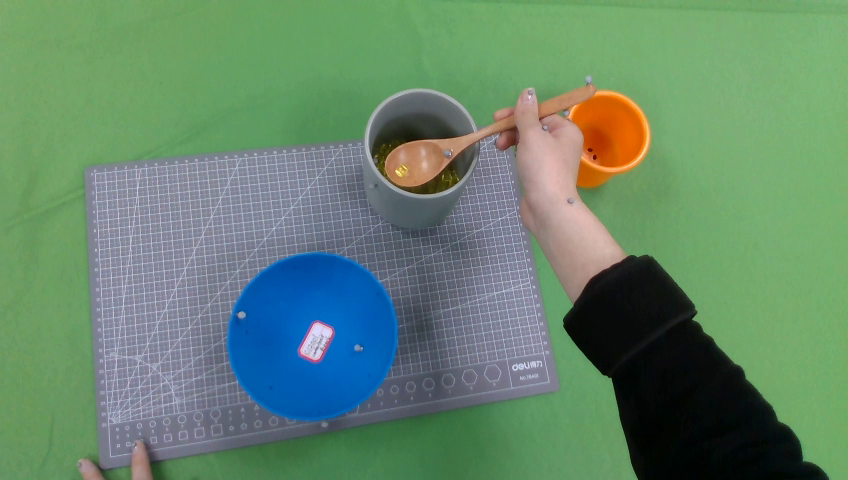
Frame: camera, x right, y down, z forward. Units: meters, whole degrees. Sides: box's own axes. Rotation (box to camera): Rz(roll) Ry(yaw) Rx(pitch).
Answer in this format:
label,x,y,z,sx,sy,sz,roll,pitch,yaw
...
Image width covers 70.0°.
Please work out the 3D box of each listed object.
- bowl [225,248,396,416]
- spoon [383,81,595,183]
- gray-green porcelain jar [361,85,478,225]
label,x,y,z,sx,sy,sz,roll,pitch,yaw
bowl,-0.104,0.089,0.576,0.152,0.077,0.150,2,77,-7
spoon,0.056,-0.096,0.524,0.193,0.022,0.041,-21,77,10
gray-green porcelain jar,-0.010,-0.076,0.598,0.106,0.127,0.105,2,77,-6
